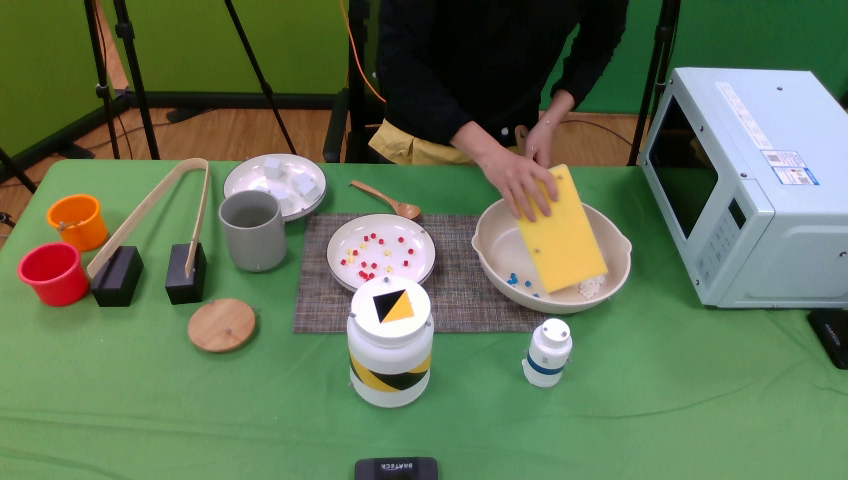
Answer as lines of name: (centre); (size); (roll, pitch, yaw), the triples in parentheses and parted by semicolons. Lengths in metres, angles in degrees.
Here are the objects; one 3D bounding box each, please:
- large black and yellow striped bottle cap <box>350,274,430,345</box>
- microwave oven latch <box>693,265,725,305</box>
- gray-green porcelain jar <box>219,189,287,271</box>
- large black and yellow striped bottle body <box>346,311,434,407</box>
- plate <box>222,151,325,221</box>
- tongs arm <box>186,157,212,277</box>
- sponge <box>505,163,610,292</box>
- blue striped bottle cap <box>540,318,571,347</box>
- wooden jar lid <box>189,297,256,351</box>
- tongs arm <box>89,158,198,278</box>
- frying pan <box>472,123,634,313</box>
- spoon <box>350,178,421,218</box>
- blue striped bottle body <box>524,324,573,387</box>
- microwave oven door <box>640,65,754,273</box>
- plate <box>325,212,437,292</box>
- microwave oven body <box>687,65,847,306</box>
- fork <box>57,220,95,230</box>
large black and yellow striped bottle cap: (-0.048, 0.097, 0.867); (0.115, 0.019, 0.114); (3, 48, -3)
microwave oven latch: (0.523, 0.082, 1.116); (0.030, 0.029, 0.078); (2, 46, -1)
gray-green porcelain jar: (-0.310, -0.014, 1.113); (0.106, 0.127, 0.105); (2, 46, -2)
large black and yellow striped bottle body: (-0.052, 0.157, 0.929); (0.131, 0.185, 0.130); (2, 47, -2)
plate: (-0.310, -0.106, 1.262); (0.208, 0.039, 0.206); (2, 47, -2)
tongs arm: (-0.445, -0.058, 1.168); (0.051, 0.026, 0.382); (-5, 37, -6)
sponge: (0.240, -0.023, 1.095); (0.118, 0.207, 0.061); (-22, 6, 11)
blue striped bottle cap: (0.203, 0.142, 0.933); (0.044, 0.021, 0.044); (3, 49, -3)
wooden jar lid: (-0.342, 0.145, 1.033); (0.108, 0.021, 0.107); (2, 45, -2)
tongs arm: (-0.529, -0.057, 1.164); (0.028, 0.028, 0.385); (1, 36, 8)
frying pan: (0.235, -0.060, 1.207); (0.307, 0.103, 0.484); (2, 54, -6)
spoon: (-0.084, -0.092, 1.272); (0.193, 0.022, 0.041); (31, 69, 25)
blue striped bottle body: (0.200, 0.178, 0.970); (0.063, 0.121, 0.062); (2, 46, -1)
microwave oven door: (0.523, -0.147, 1.193); (0.039, 0.245, 0.353); (0, 47, -3)
plate: (-0.080, 0.030, 1.143); (0.209, 0.038, 0.208); (3, 46, -3)
microwave oven body: (0.669, -0.111, 1.176); (0.326, 0.261, 0.439); (0, 46, -3)
fork: (-0.624, -0.027, 1.087); (0.028, 0.207, 0.018); (-3, 92, -17)
